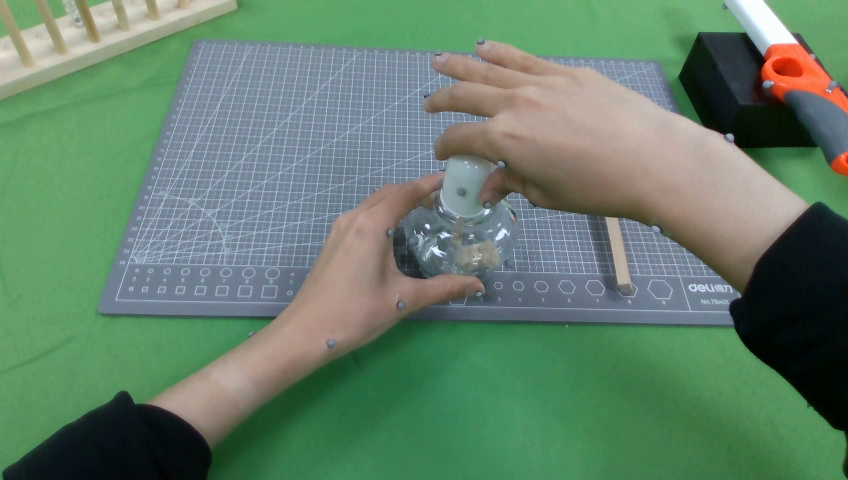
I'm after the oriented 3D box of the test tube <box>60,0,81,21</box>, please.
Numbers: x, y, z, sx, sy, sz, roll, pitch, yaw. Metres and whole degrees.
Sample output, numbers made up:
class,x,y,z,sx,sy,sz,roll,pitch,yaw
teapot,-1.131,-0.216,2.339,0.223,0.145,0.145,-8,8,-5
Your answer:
class,x,y,z,sx,sy,sz,roll,pitch,yaw
test tube,-0.312,-0.252,0.500,0.017,0.151,0.017,4,50,-4

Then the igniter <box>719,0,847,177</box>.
class,x,y,z,sx,sy,sz,roll,pitch,yaw
igniter,0.308,-0.154,0.520,0.057,0.025,0.273,-2,51,-3

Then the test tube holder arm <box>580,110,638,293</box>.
class,x,y,z,sx,sy,sz,roll,pitch,yaw
test tube holder arm,0.143,-0.037,0.477,0.013,0.015,0.176,-21,50,23

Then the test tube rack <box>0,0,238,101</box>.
class,x,y,z,sx,sy,sz,roll,pitch,yaw
test tube rack,-0.296,-0.216,0.537,0.242,0.086,0.066,-34,62,-26

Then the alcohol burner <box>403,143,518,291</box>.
class,x,y,z,sx,sy,sz,roll,pitch,yaw
alcohol burner,0.025,-0.019,0.394,0.078,0.120,0.077,1,54,-1

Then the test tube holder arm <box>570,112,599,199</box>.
class,x,y,z,sx,sy,sz,roll,pitch,yaw
test tube holder arm,0.136,-0.072,0.505,0.010,0.015,0.087,-21,50,23

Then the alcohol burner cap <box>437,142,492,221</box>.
class,x,y,z,sx,sy,sz,roll,pitch,yaw
alcohol burner cap,0.026,-0.038,0.369,0.034,0.048,0.033,2,53,-3
